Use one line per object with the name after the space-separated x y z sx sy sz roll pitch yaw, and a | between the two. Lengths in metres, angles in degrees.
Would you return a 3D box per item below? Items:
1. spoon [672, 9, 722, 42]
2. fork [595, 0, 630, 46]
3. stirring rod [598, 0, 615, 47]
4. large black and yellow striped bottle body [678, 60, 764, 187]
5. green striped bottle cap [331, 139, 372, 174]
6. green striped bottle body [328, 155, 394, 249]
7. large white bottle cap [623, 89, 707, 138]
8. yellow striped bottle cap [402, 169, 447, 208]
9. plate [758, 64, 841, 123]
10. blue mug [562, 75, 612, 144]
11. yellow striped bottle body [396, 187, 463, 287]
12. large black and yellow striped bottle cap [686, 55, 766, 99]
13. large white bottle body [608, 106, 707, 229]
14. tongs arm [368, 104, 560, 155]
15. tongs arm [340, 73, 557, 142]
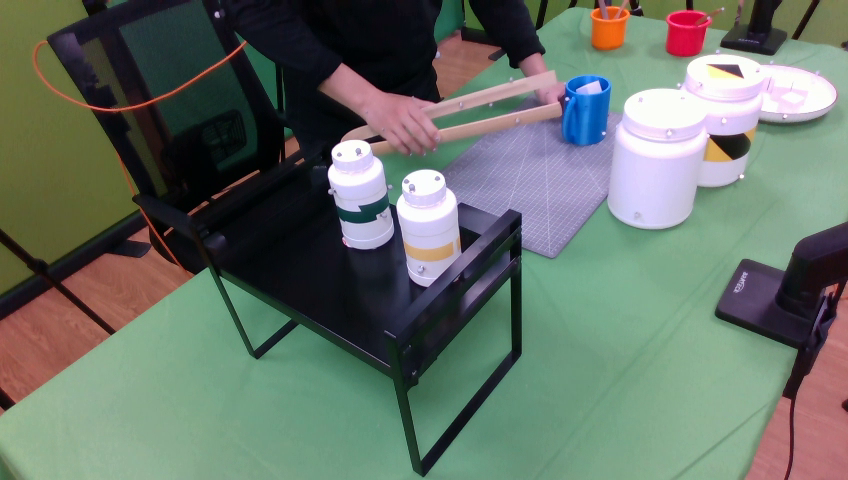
0.606 -0.476 1.345 0.042 0.021 0.193 -6 -3 -2 | spoon
0.480 -0.556 1.453 0.028 0.019 0.207 41 103 40 | fork
0.437 -0.551 1.462 0.014 0.006 0.175 -11 83 1 | stirring rod
0.482 -0.196 1.008 0.131 0.185 0.130 -4 41 4 | large black and yellow striped bottle body
-0.080 -0.092 0.665 0.044 0.020 0.044 -3 40 3 | green striped bottle cap
-0.073 -0.053 0.699 0.063 0.120 0.063 -5 41 4 | green striped bottle body
0.352 -0.187 0.886 0.115 0.018 0.114 -4 41 4 | large white bottle cap
0.000 -0.052 0.605 0.044 0.019 0.044 -4 42 5 | yellow striped bottle cap
0.694 -0.283 1.189 0.207 0.039 0.206 -4 40 4 | plate
0.298 -0.239 1.143 0.081 0.106 0.117 30 54 36 | blue mug
0.006 -0.013 0.638 0.063 0.121 0.062 -5 41 5 | yellow striped bottle body
0.474 -0.258 0.952 0.115 0.019 0.114 -5 41 5 | large black and yellow striped bottle cap
0.361 -0.124 0.941 0.130 0.185 0.130 -5 41 4 | large white bottle body
0.031 -0.178 1.004 0.386 0.028 0.028 -7 47 21 | tongs arm
0.037 -0.217 1.044 0.383 0.027 0.050 -11 43 16 | tongs arm
